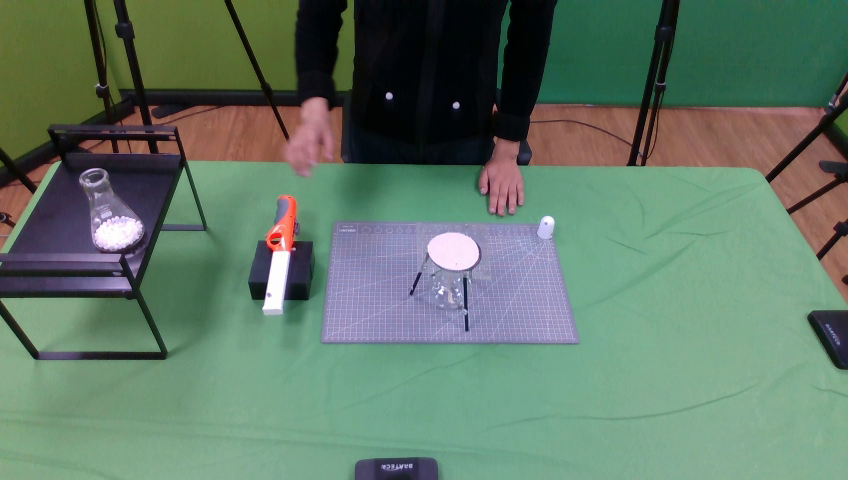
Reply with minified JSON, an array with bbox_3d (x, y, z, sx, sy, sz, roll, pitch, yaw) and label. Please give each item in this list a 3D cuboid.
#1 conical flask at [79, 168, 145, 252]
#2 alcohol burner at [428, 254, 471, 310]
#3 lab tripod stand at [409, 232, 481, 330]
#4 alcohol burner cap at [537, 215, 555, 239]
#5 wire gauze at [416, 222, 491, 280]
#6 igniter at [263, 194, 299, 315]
[{"bbox_3d":[-0.463,-0.048,0.888,0.075,0.122,0.075,2,46,-2],"label":"conical flask"},{"bbox_3d":[0.046,0.068,1.069,0.078,0.119,0.077,3,45,-3],"label":"alcohol burner"},{"bbox_3d":[0.051,0.064,1.060,0.148,0.132,0.147,4,46,-4],"label":"lab tripod stand"},{"bbox_3d":[0.249,-0.029,1.228,0.034,0.048,0.033,1,48,-1],"label":"alcohol burner cap"},{"bbox_3d":[0.048,0.014,1.013,0.125,0.011,0.120,3,47,-3],"label":"wire gauze"},{"bbox_3d":[-0.259,0.016,1.093,0.057,0.025,0.274,-3,49,-2],"label":"igniter"}]
